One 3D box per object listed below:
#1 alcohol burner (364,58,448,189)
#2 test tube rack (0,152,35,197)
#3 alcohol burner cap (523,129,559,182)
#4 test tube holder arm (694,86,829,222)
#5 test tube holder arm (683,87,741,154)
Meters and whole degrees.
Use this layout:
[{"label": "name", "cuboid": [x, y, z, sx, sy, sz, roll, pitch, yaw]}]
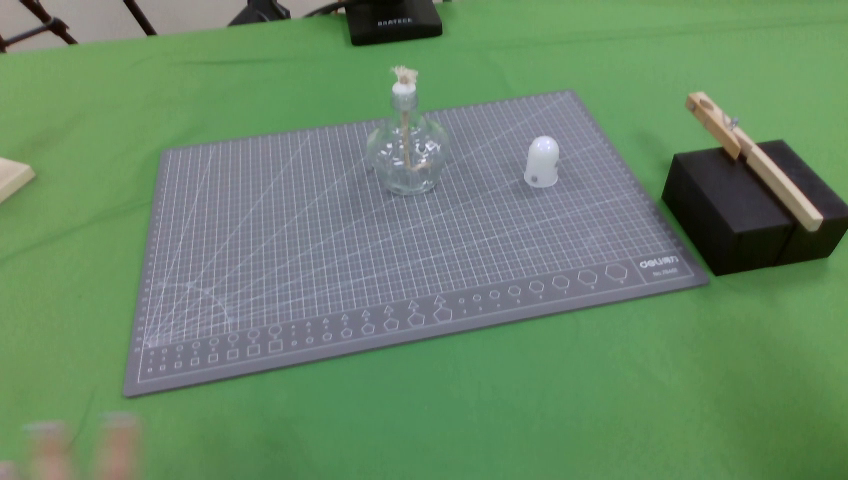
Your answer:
[{"label": "alcohol burner", "cuboid": [-0.017, -0.106, 0.544, 0.078, 0.120, 0.077, -2, 44, 2]}, {"label": "test tube rack", "cuboid": [-0.469, -0.027, 0.514, 0.066, 0.086, 0.241, 15, 49, 16]}, {"label": "alcohol burner cap", "cuboid": [0.110, -0.080, 0.563, 0.034, 0.048, 0.033, -2, 46, 2]}, {"label": "test tube holder arm", "cuboid": [0.275, -0.078, 0.508, 0.013, 0.015, 0.176, -20, 47, -1]}, {"label": "test tube holder arm", "cuboid": [0.258, -0.107, 0.538, 0.010, 0.015, 0.087, -19, 47, 0]}]
